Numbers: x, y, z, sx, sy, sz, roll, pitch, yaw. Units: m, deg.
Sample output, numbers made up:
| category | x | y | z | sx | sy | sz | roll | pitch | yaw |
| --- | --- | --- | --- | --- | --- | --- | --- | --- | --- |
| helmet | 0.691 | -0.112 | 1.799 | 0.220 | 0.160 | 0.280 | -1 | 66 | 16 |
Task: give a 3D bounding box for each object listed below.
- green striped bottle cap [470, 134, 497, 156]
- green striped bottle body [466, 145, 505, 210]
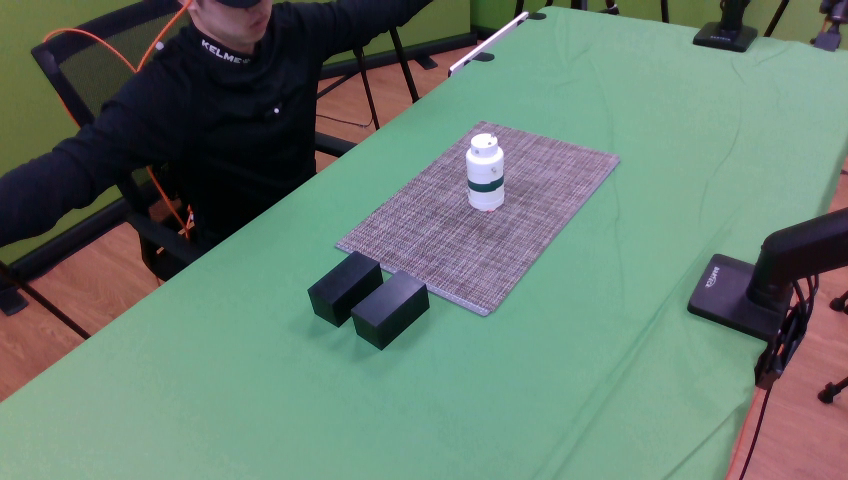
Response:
| category | x | y | z | sx | sy | sz | roll | pitch | yaw |
| --- | --- | --- | --- | --- | --- | --- | --- | --- | --- |
| green striped bottle cap | 0.095 | -0.152 | 0.971 | 0.044 | 0.020 | 0.044 | -3 | 38 | 3 |
| green striped bottle body | 0.102 | -0.113 | 1.005 | 0.063 | 0.120 | 0.063 | -4 | 41 | 4 |
